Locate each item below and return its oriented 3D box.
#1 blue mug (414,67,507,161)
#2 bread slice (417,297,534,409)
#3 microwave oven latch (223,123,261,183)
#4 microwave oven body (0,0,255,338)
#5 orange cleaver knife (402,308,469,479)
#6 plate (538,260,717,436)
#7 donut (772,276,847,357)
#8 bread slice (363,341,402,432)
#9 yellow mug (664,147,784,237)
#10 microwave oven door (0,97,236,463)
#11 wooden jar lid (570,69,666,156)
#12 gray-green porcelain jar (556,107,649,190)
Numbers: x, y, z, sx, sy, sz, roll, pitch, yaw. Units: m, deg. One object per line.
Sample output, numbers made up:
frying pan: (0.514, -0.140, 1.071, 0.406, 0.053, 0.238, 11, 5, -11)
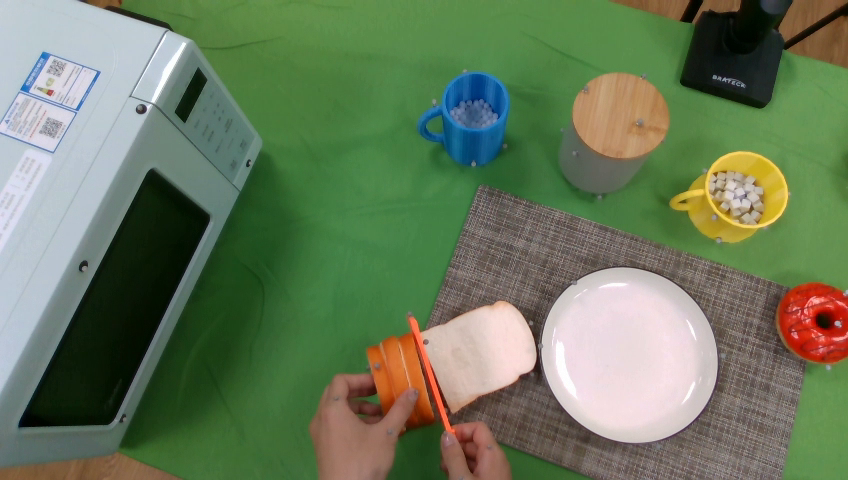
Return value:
blue mug: (0.045, -0.157, 0.780, 0.116, 0.106, 0.082, -6, 75, 1)
bread slice: (0.067, 0.132, 0.740, 0.131, 0.019, 0.104, -24, 74, -1)
microwave oven latch: (-0.243, -0.118, 0.796, 0.030, 0.029, 0.079, 23, 78, 8)
microwave oven body: (-0.449, -0.031, 0.681, 0.325, 0.261, 0.440, 20, 78, 7)
orange cleaver knife: (0.012, 0.173, 0.664, 0.012, 0.077, 0.210, -18, 81, -8)
plate: (0.240, 0.128, 0.730, 0.207, 0.039, 0.206, -1, 76, 2)
donut: (0.470, 0.092, 0.728, 0.099, 0.048, 0.098, -1, 76, 2)
bread slice: (-0.047, 0.163, 0.687, 0.018, 0.135, 0.106, -17, 73, -7)
yellow mug: (0.372, -0.058, 0.763, 0.131, 0.064, 0.099, -4, 75, 2)
microwave oven door: (-0.329, 0.054, 0.649, 0.039, 0.245, 0.354, 19, 77, 7)
wooden jar lid: (0.220, -0.144, 0.695, 0.108, 0.021, 0.107, 0, 73, 2)
gray-green porcelain jar: (0.223, -0.127, 0.756, 0.106, 0.127, 0.105, 0, 75, 2)
